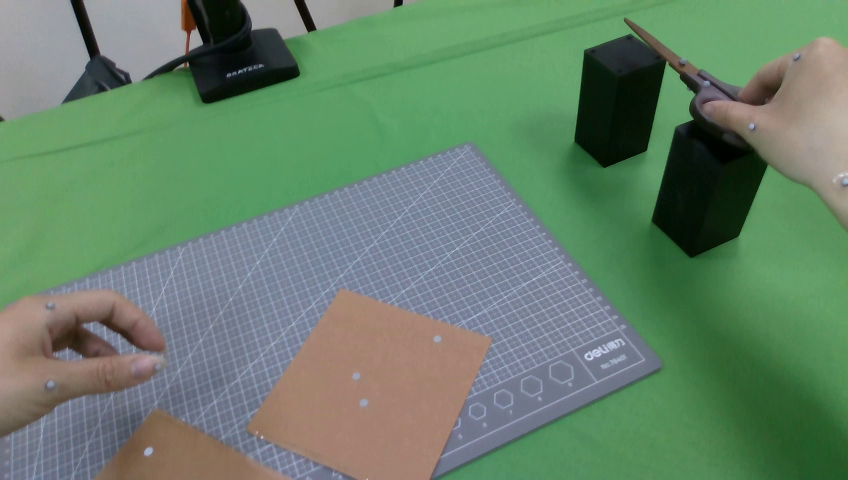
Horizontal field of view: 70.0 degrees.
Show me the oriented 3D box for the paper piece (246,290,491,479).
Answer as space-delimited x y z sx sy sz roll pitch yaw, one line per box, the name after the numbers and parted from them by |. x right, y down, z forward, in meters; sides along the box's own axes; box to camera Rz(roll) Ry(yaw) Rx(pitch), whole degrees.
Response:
-0.036 0.105 0.437 0.134 0.004 0.135 16 51 20 | paper piece

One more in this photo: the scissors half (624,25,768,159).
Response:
0.198 -0.121 0.464 0.040 0.013 0.173 -9 50 -15 | scissors half

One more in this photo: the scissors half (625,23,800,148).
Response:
0.216 -0.127 0.470 0.040 0.013 0.173 -26 56 -21 | scissors half

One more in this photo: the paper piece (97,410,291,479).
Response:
-0.166 0.187 0.376 0.135 0.009 0.137 17 52 25 | paper piece
